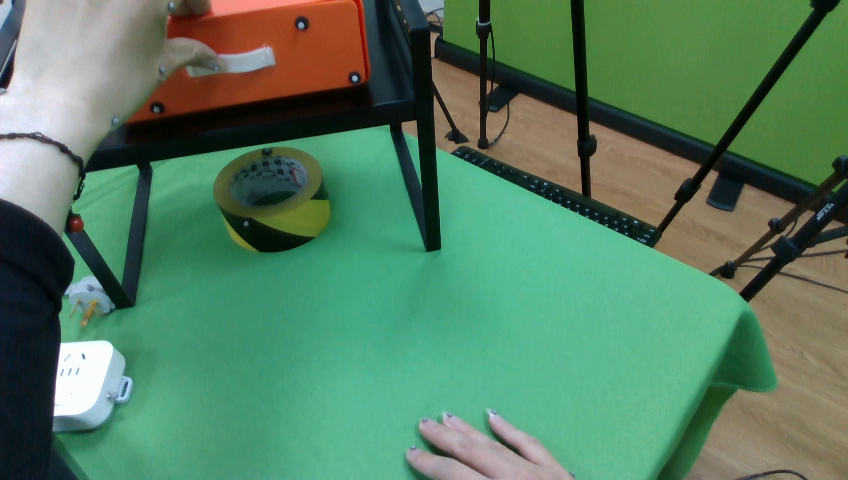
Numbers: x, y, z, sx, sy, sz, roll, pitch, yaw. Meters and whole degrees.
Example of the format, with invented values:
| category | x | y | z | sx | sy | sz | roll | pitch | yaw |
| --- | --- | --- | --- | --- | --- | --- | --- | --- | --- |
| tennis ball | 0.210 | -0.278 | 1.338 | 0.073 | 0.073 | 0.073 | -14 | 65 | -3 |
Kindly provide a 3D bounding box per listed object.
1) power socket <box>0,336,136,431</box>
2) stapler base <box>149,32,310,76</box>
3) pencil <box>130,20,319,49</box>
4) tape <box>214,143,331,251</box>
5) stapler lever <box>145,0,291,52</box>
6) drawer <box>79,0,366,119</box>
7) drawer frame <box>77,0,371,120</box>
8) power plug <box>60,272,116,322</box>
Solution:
| category | x | y | z | sx | sy | sz | roll | pitch | yaw |
| --- | --- | --- | --- | --- | --- | --- | --- | --- | --- |
| power socket | -0.361 | 0.122 | 0.505 | 0.227 | 0.033 | 0.071 | -4 | 47 | 0 |
| stapler base | -0.162 | -0.156 | 0.499 | 0.130 | 0.024 | 0.041 | -1 | 44 | 5 |
| pencil | -0.175 | -0.177 | 0.519 | 0.193 | 0.012 | 0.012 | 2 | 47 | 20 |
| tape | -0.156 | -0.048 | 0.636 | 0.117 | 0.053 | 0.115 | -1 | 48 | 1 |
| stapler lever | -0.165 | -0.172 | 0.481 | 0.118 | 0.040 | 0.026 | 0 | 44 | 4 |
| drawer | -0.164 | -0.203 | 0.515 | 0.195 | 0.074 | 0.209 | -12 | 47 | -7 |
| drawer frame | -0.165 | -0.206 | 0.517 | 0.202 | 0.083 | 0.211 | -13 | 48 | -8 |
| power plug | -0.321 | 0.060 | 0.572 | 0.072 | 0.035 | 0.052 | -27 | 35 | 28 |
